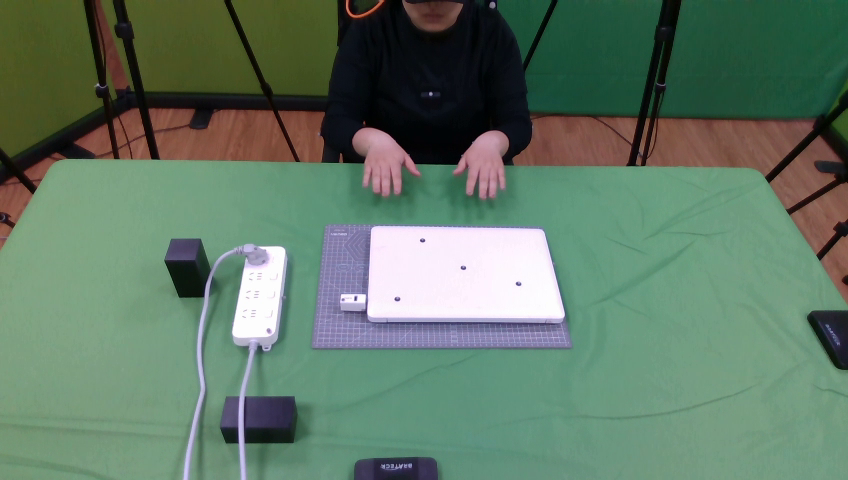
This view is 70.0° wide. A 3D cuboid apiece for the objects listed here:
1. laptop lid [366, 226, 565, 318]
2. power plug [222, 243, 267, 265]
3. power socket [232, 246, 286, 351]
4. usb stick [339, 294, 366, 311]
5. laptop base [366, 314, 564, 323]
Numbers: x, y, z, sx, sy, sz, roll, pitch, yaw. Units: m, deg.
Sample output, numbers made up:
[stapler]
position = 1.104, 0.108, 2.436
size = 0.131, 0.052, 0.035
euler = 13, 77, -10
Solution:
[laptop lid]
position = 0.071, 0.054, 1.137
size = 0.357, 0.013, 0.240
euler = 2, 44, -3
[power plug]
position = -0.325, 0.027, 1.112
size = 0.072, 0.053, 0.035
euler = 6, 46, 5
[power socket]
position = -0.290, 0.095, 1.077
size = 0.072, 0.033, 0.225
euler = -2, 46, -4
[usb stick]
position = -0.119, 0.110, 1.068
size = 0.059, 0.027, 0.021
euler = 4, 47, -5
[laptop base]
position = 0.071, 0.064, 1.144
size = 0.355, 0.023, 0.234
euler = 1, 43, -4
